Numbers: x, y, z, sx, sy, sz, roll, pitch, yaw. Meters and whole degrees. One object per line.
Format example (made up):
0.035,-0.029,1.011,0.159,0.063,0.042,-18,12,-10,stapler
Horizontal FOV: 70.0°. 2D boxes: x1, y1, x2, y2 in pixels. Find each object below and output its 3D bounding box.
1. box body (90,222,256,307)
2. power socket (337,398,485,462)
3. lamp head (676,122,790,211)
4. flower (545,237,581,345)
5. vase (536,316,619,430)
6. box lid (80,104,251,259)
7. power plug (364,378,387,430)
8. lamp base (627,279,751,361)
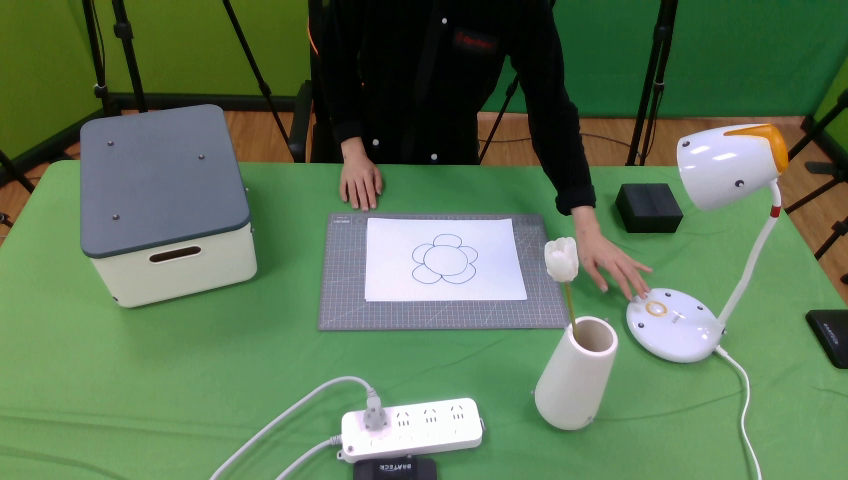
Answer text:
-0.471,-0.070,1.131,0.254,0.161,0.361,-14,49,-17,box body
-0.018,0.285,0.914,0.227,0.033,0.071,-4,46,-8,power socket
0.423,-0.104,0.819,0.122,0.113,0.112,-13,33,40,lamp head
0.213,0.137,0.846,0.038,0.364,0.044,21,55,40,flower
0.229,0.200,0.901,0.098,0.201,0.097,3,46,-3,vase
-0.467,-0.120,1.076,0.264,0.015,0.369,-14,49,-17,box lid
-0.071,0.251,0.911,0.035,0.053,0.072,4,40,0,power plug
0.460,0.100,1.027,0.178,0.181,0.160,27,51,17,lamp base
